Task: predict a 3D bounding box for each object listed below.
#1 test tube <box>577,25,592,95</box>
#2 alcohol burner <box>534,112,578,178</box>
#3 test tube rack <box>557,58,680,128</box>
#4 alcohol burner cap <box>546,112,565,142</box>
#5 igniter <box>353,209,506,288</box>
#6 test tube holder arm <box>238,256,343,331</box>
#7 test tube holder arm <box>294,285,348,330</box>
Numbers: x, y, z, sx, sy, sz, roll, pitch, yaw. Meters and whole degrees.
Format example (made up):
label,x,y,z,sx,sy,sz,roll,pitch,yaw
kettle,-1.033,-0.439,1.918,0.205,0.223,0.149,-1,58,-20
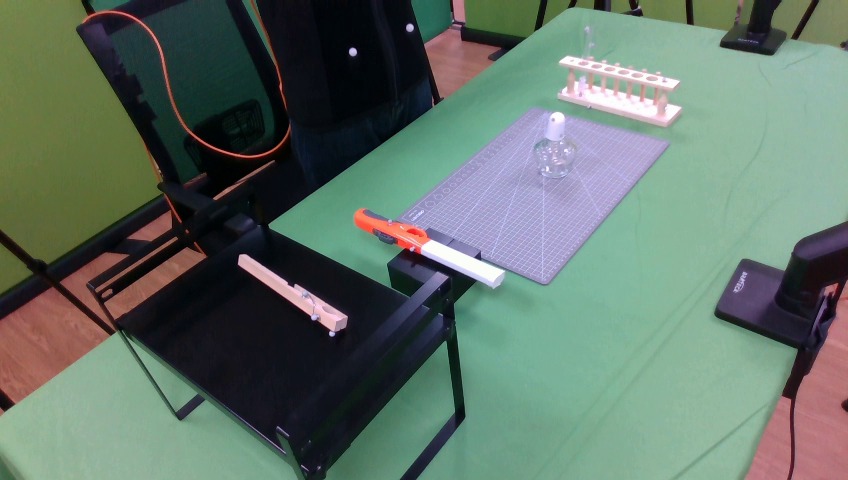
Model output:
label,x,y,z,sx,sy,sz,roll,pitch,yaw
test tube,0.325,-0.362,1.226,0.017,0.151,0.017,-3,45,4
alcohol burner,0.232,-0.170,1.065,0.078,0.119,0.077,-5,39,5
test tube rack,0.395,-0.309,1.230,0.240,0.085,0.067,25,50,33
alcohol burner cap,0.229,-0.197,1.042,0.034,0.048,0.033,-1,45,2
igniter,-0.003,0.006,0.892,0.274,0.025,0.057,24,37,31
test tube holder arm,-0.150,0.054,0.657,0.177,0.015,0.013,25,17,35
test tube holder arm,-0.113,0.070,0.635,0.087,0.015,0.010,25,17,36
